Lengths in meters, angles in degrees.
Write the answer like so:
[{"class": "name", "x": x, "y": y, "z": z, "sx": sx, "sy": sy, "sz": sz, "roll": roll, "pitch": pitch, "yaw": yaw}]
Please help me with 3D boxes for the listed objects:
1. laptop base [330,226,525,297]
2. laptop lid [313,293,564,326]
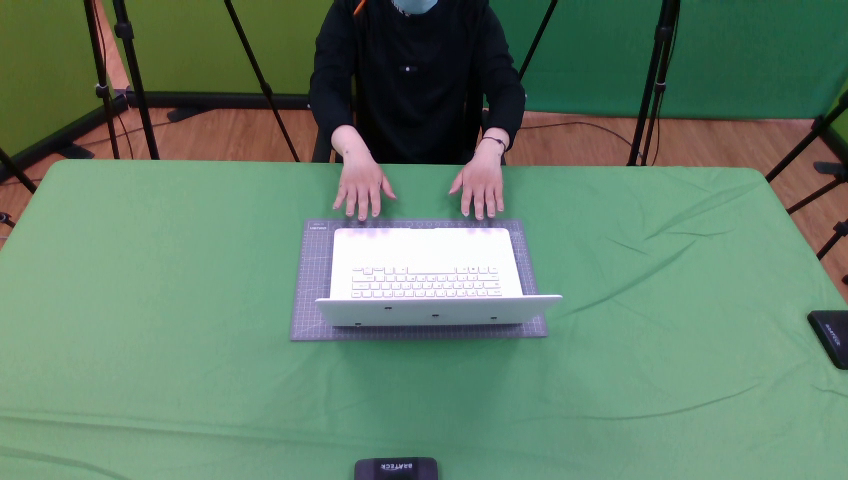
[{"class": "laptop base", "x": 0.005, "y": 0.061, "z": 1.137, "sx": 0.355, "sy": 0.023, "sz": 0.234, "roll": -1, "pitch": 43, "yaw": -4}, {"class": "laptop lid", "x": 0.017, "y": 0.112, "z": 0.945, "sx": 0.357, "sy": 0.242, "sz": 0.013, "roll": 0, "pitch": 74, "yaw": -5}]
